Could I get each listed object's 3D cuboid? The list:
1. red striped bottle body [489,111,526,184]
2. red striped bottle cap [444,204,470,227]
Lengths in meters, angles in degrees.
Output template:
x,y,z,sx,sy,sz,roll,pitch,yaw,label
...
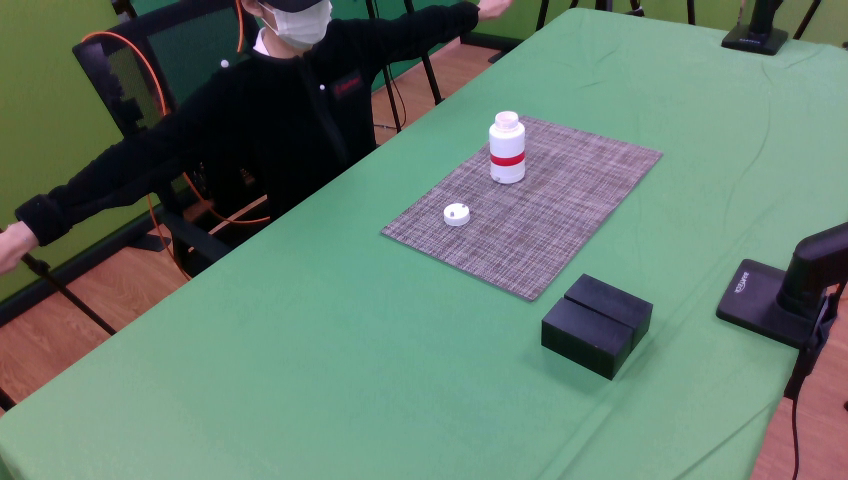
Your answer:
x,y,z,sx,sy,sz,roll,pitch,yaw,label
0.147,-0.164,1.064,0.063,0.120,0.062,-5,39,4,red striped bottle body
0.055,-0.042,1.016,0.044,0.018,0.044,-2,42,2,red striped bottle cap
